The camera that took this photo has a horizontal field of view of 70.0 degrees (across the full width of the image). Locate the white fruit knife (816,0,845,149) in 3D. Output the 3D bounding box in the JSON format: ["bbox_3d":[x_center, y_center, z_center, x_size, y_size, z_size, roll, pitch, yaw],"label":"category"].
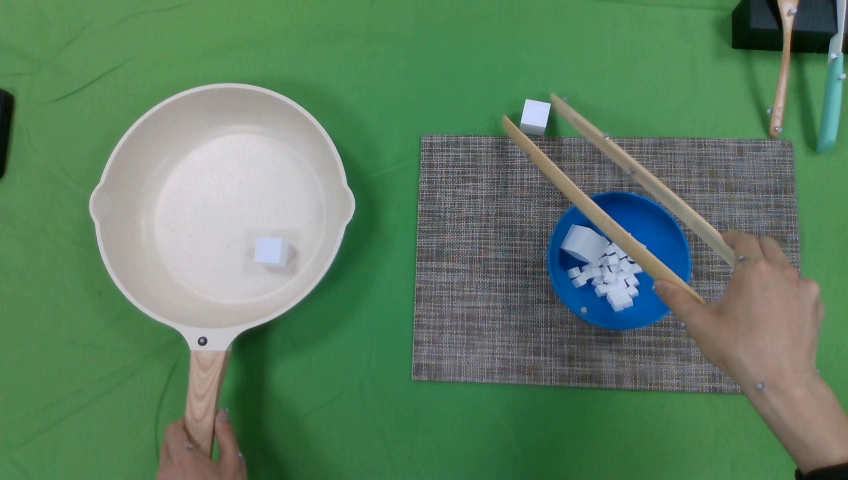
[{"bbox_3d":[0.479,-0.212,0.707,0.016,0.027,0.207,2,95,-1],"label":"white fruit knife"}]

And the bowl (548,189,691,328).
[{"bbox_3d":[0.209,0.025,0.680,0.151,0.077,0.151,0,80,3],"label":"bowl"}]

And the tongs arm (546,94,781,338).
[{"bbox_3d":[0.211,-0.050,0.612,0.051,0.027,0.380,-26,45,-8],"label":"tongs arm"}]

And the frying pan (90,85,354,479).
[{"bbox_3d":[-0.234,0.064,0.687,0.307,0.103,0.485,1,72,4],"label":"frying pan"}]

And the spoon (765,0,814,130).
[{"bbox_3d":[0.424,-0.227,0.707,0.041,0.022,0.194,15,104,31],"label":"spoon"}]

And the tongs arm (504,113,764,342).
[{"bbox_3d":[0.179,-0.035,0.608,0.028,0.028,0.383,-23,44,-10],"label":"tongs arm"}]
